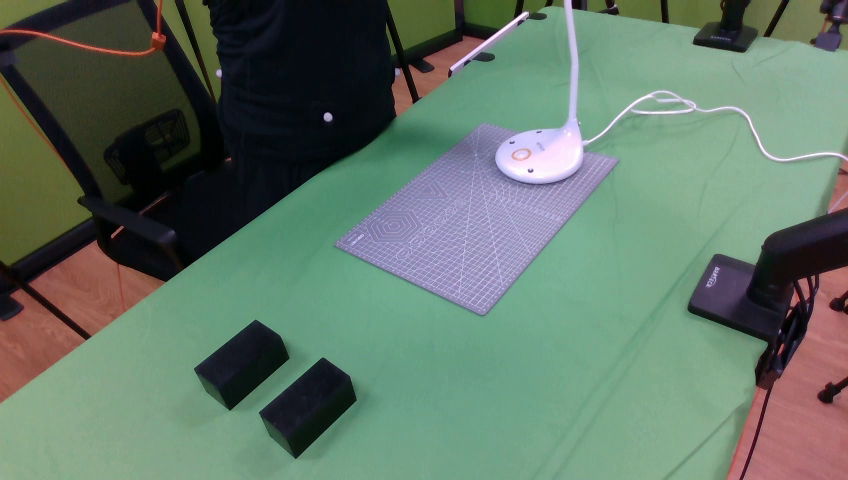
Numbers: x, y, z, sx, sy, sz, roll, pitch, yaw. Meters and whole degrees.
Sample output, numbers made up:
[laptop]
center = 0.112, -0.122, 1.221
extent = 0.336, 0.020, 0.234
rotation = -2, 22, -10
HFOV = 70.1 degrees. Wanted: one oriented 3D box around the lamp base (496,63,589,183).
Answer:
[lamp base]
center = 0.216, -0.217, 1.067
extent = 0.180, 0.181, 0.159
rotation = -19, 42, -18
